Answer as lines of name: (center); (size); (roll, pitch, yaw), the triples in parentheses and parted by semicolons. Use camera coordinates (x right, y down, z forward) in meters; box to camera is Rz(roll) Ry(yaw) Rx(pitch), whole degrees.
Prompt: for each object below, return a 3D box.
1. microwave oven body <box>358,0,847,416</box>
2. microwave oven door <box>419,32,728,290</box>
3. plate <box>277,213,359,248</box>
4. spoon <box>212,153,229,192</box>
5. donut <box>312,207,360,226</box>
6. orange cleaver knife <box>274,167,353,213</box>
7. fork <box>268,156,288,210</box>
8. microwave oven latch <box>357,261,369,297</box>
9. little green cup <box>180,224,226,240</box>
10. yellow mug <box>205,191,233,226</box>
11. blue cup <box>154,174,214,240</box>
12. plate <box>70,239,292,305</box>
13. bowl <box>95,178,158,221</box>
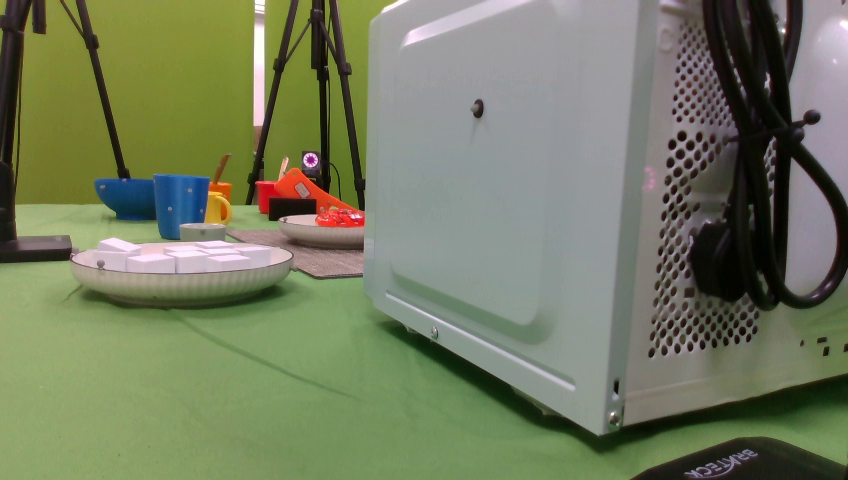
microwave oven body: (0.211, -0.047, 0.474); (0.444, 0.260, 0.324); (-1, 7, -28)
microwave oven door: (0.172, -0.075, 0.641); (0.357, 0.243, 0.039); (-1, 8, -21)
plate: (-0.135, -0.017, 0.992); (0.209, 0.038, 0.209); (2, 8, 0)
spoon: (-0.431, -0.115, 1.253); (0.042, 0.193, 0.021); (-3, 53, -33)
donut: (-0.134, -0.029, 0.996); (0.099, 0.048, 0.099); (3, 10, 0)
orange cleaver knife: (-0.238, -0.090, 1.381); (0.212, 0.077, 0.012); (31, 0, -19)
fork: (-0.360, -0.144, 1.508); (0.028, 0.018, 0.207); (1, 49, 0)
microwave oven latch: (-0.019, 0.033, 0.531); (0.079, 0.029, 0.030); (-1, 7, -27)
little green cup: (-0.308, -0.001, 0.846); (0.061, 0.038, 0.061); (2, 8, 0)
yellow mug: (-0.415, -0.057, 1.131); (0.130, 0.064, 0.100); (6, 8, 16)
blue cup: (-0.391, -0.053, 0.978); (0.093, 0.100, 0.092); (3, 6, 0)
plate: (-0.242, 0.031, 0.618); (0.208, 0.039, 0.207); (2, 8, 0)
bowl: (-0.576, -0.081, 1.217); (0.151, 0.077, 0.151); (3, 8, 0)
